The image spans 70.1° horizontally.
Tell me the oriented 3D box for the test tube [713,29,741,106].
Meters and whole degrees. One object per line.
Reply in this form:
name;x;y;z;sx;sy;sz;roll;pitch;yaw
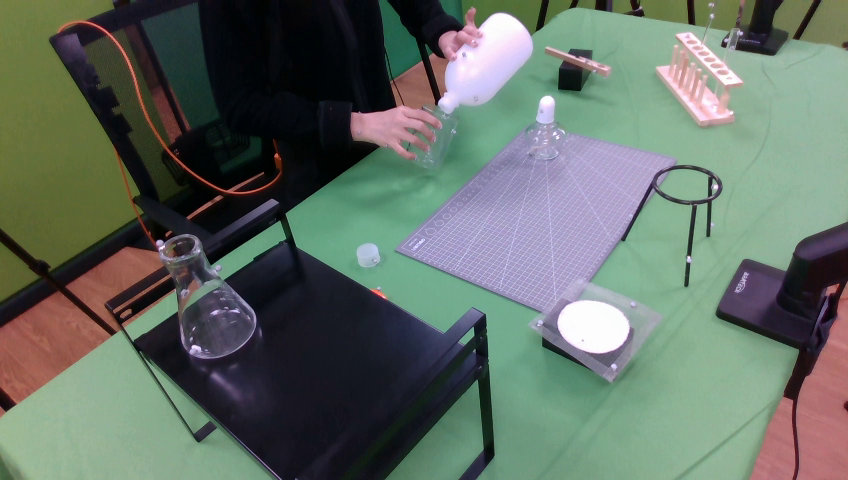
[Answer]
test tube;0.572;-0.324;1.146;0.017;0.151;0.017;-3;39;3

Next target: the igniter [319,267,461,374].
igniter;-0.059;0.108;0.862;0.274;0.025;0.057;28;62;35

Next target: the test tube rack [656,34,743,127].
test tube rack;0.553;-0.330;1.233;0.067;0.085;0.241;-7;40;2

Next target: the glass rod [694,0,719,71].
glass rod;0.560;-0.401;1.214;0.008;0.200;0.008;-1;48;2

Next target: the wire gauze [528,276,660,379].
wire gauze;0.213;0.103;0.763;0.124;0.011;0.122;30;52;35

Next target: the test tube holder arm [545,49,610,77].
test tube holder arm;0.331;-0.386;1.314;0.013;0.015;0.177;-26;42;-30

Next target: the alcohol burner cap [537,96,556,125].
alcohol burner cap;0.223;-0.237;1.095;0.034;0.048;0.033;0;42;1

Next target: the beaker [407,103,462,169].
beaker;0.017;-0.188;1.097;0.074;0.100;0.084;25;21;7

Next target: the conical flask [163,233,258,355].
conical flask;-0.216;0.051;0.601;0.075;0.122;0.075;-4;40;4

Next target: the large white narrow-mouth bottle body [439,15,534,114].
large white narrow-mouth bottle body;0.101;-0.304;1.087;0.194;0.102;0.101;-47;50;-7

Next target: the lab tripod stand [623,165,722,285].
lab tripod stand;0.365;-0.030;0.874;0.148;0.132;0.147;-6;41;6

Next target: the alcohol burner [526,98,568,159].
alcohol burner;0.228;-0.210;1.118;0.078;0.119;0.077;-5;43;5

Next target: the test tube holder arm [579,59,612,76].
test tube holder arm;0.363;-0.368;1.289;0.010;0.015;0.087;-26;43;-30

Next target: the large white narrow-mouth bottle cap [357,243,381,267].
large white narrow-mouth bottle cap;-0.088;0.023;0.972;0.038;0.024;0.037;-4;41;4
